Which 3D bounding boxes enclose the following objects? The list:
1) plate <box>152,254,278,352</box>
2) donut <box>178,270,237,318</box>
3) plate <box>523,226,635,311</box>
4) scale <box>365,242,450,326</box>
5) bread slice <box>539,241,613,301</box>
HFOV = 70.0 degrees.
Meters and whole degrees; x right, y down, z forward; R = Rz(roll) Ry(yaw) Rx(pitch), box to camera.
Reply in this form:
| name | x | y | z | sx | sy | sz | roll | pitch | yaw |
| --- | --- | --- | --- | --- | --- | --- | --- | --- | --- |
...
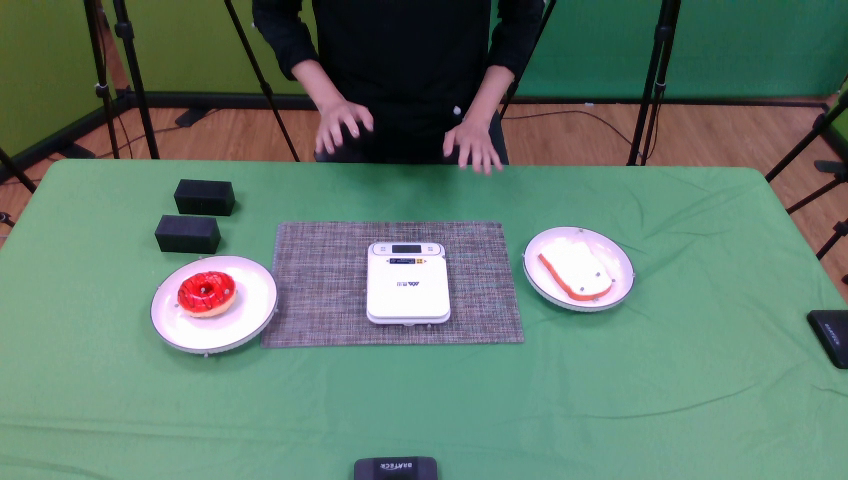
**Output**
| name | x | y | z | sx | sy | sz | roll | pitch | yaw |
| --- | --- | --- | --- | --- | --- | --- | --- | --- | --- |
| plate | -0.357 | 0.111 | 1.052 | 0.208 | 0.039 | 0.206 | 2 | 46 | -2 |
| donut | -0.375 | 0.092 | 1.053 | 0.099 | 0.048 | 0.098 | 1 | 42 | 0 |
| plate | 0.291 | 0.058 | 1.151 | 0.209 | 0.038 | 0.208 | 2 | 45 | -2 |
| scale | -0.032 | 0.071 | 1.113 | 0.149 | 0.032 | 0.199 | 1 | 46 | -4 |
| bread slice | 0.297 | 0.058 | 1.153 | 0.105 | 0.019 | 0.130 | -15 | 50 | -18 |
